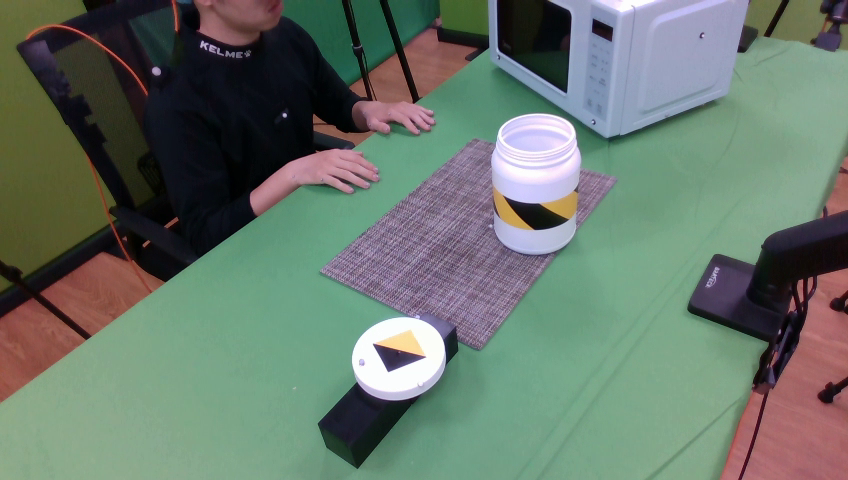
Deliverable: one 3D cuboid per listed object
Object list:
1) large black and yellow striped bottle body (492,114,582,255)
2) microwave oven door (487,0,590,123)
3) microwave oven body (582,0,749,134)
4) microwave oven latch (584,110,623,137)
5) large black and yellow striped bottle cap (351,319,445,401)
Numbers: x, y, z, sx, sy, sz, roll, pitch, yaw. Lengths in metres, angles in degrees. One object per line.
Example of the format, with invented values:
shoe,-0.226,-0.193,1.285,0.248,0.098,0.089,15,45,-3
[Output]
large black and yellow striped bottle body,0.169,-0.083,0.912,0.131,0.185,0.130,-4,41,4
microwave oven door,0.232,-0.420,1.230,0.039,0.245,0.352,-22,43,-16
microwave oven body,0.382,-0.444,1.246,0.327,0.261,0.437,-22,42,-16
microwave oven latch,0.337,-0.222,1.142,0.030,0.029,0.078,-21,42,-14
large black and yellow striped bottle cap,-0.031,0.143,0.735,0.115,0.019,0.114,-3,40,3
